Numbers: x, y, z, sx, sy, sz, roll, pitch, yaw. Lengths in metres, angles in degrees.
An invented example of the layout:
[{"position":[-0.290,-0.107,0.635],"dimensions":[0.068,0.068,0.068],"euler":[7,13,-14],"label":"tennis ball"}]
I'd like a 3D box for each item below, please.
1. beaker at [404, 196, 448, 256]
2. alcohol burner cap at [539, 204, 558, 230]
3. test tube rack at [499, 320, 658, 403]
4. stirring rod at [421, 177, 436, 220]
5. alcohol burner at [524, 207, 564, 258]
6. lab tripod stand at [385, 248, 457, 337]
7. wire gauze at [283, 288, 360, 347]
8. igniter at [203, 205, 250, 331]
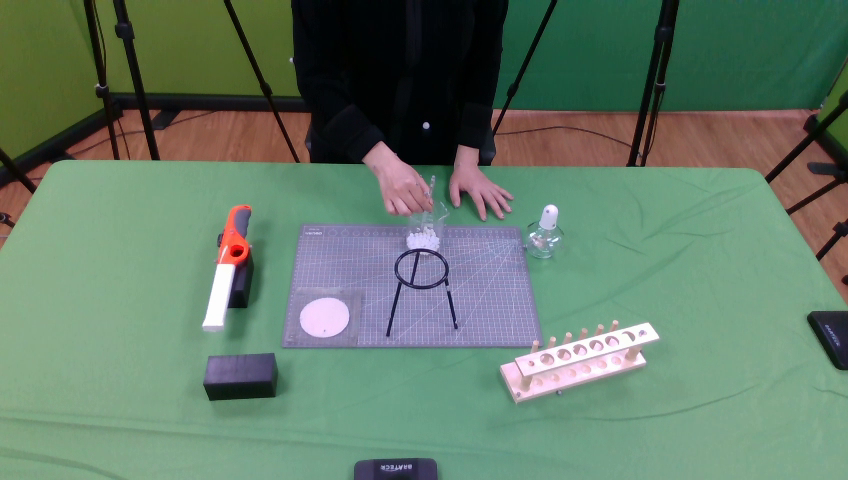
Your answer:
[{"position":[0.001,-0.024,1.164],"dimensions":[0.084,0.101,0.073],"euler":[6,46,0],"label":"beaker"},{"position":[0.238,-0.045,1.148],"dimensions":[0.034,0.048,0.033],"euler":[2,42,-1],"label":"alcohol burner cap"},{"position":[0.252,0.187,0.994],"dimensions":[0.243,0.085,0.066],"euler":[-12,48,-15],"label":"test tube rack"},{"position":[0.008,-0.074,1.122],"dimensions":[0.014,0.176,0.006],"euler":[0,69,-5],"label":"stirring rod"},{"position":[0.236,-0.021,1.174],"dimensions":[0.078,0.120,0.077],"euler":[1,48,-1],"label":"alcohol burner"},{"position":[-0.010,0.087,1.032],"dimensions":[0.148,0.132,0.147],"euler":[1,45,-1],"label":"lab tripod stand"},{"position":[-0.178,0.132,1.063],"dimensions":[0.125,0.011,0.120],"euler":[2,46,1],"label":"wire gauze"},{"position":[-0.345,0.039,1.065],"dimensions":[0.057,0.025,0.274],"euler":[2,49,-6],"label":"igniter"}]
